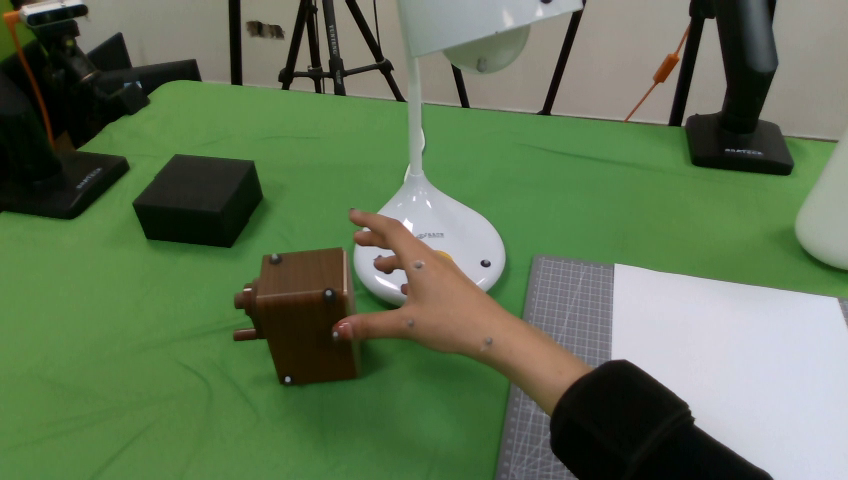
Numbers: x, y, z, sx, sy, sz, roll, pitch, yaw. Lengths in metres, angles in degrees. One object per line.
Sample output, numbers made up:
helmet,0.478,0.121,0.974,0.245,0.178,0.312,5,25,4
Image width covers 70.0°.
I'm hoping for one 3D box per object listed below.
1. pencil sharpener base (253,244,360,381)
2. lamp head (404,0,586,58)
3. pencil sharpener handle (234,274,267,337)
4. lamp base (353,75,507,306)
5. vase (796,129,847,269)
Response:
pencil sharpener base,-0.097,0.064,0.514,0.077,0.108,0.060,-5,41,-4
lamp head,0.031,-0.183,0.371,0.112,0.123,0.112,-17,12,4
pencil sharpener handle,-0.148,0.058,0.503,0.031,0.068,0.035,-5,45,-4
lamp base,0.001,-0.056,0.597,0.161,0.182,0.177,-12,39,-12
vase,0.439,-0.067,0.584,0.098,0.202,0.097,-1,39,2
